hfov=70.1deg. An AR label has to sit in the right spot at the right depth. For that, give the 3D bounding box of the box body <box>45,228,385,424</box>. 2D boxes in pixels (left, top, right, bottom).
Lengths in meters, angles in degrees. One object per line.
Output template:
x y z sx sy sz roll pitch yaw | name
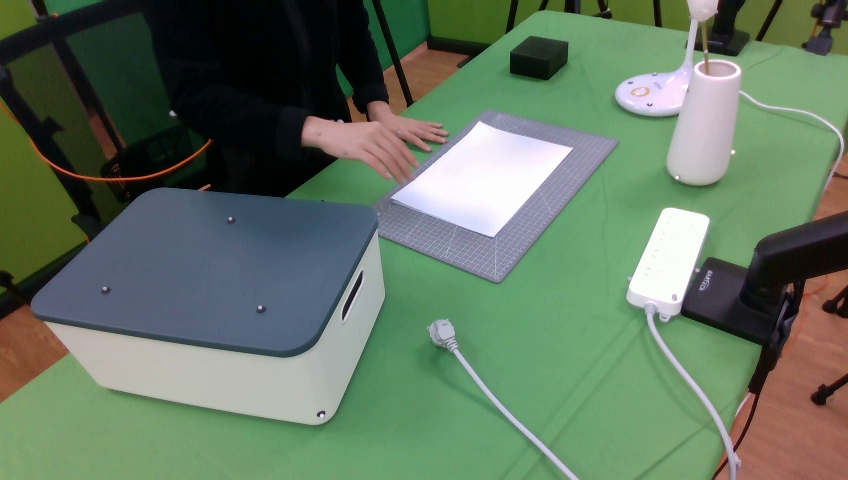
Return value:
-0.254 0.082 0.807 0.363 0.161 0.253 5 42 14 | box body

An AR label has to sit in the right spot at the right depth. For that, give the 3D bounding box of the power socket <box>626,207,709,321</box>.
0.360 0.026 0.886 0.072 0.033 0.227 17 46 27 | power socket

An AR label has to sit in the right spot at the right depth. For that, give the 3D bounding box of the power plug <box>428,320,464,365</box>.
0.027 0.139 0.796 0.035 0.053 0.072 -8 61 -5 | power plug

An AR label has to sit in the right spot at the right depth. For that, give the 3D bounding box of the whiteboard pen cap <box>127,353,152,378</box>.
-0.385 0.170 0.819 0.018 0.018 0.033 7 41 16 | whiteboard pen cap

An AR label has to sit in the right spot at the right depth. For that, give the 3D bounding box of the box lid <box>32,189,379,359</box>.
-0.260 0.025 0.758 0.370 0.015 0.263 5 41 14 | box lid

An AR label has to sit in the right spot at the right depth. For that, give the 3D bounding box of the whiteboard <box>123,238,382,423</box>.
-0.242 0.094 0.809 0.304 0.144 0.216 5 45 13 | whiteboard

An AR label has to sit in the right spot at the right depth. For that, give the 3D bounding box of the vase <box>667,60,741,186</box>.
0.463 -0.189 0.994 0.098 0.201 0.097 -4 40 4 | vase

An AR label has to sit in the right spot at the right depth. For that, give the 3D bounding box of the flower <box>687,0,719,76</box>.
0.436 -0.242 0.934 0.038 0.364 0.043 -24 49 9 | flower

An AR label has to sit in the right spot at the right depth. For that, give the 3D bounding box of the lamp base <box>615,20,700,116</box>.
0.484 -0.364 1.211 0.180 0.181 0.159 -15 41 -14 | lamp base

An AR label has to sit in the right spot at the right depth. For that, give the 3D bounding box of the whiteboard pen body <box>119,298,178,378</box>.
-0.396 0.139 0.869 0.017 0.017 0.140 6 46 15 | whiteboard pen body
